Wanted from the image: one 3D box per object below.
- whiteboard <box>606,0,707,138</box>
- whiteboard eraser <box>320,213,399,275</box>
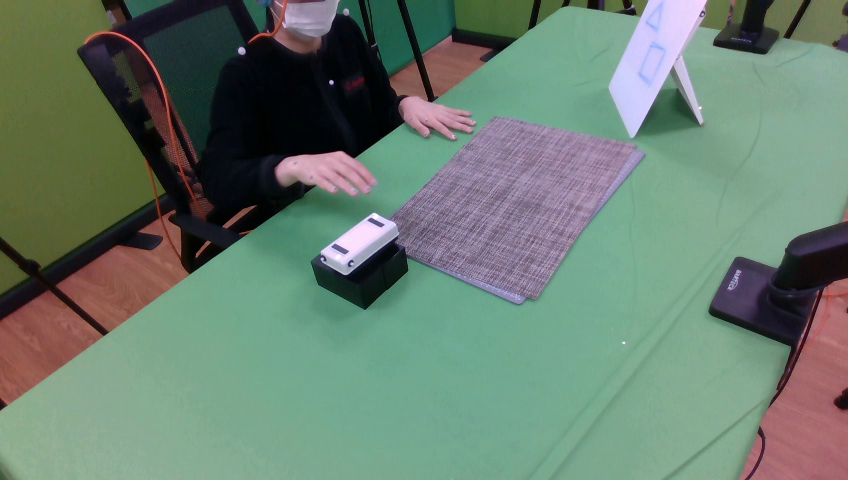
[{"bbox_3d":[0.496,-0.359,1.147,0.144,0.305,0.216,11,40,-7],"label":"whiteboard"},{"bbox_3d":[-0.092,0.007,0.884,0.055,0.042,0.113,28,51,32],"label":"whiteboard eraser"}]
